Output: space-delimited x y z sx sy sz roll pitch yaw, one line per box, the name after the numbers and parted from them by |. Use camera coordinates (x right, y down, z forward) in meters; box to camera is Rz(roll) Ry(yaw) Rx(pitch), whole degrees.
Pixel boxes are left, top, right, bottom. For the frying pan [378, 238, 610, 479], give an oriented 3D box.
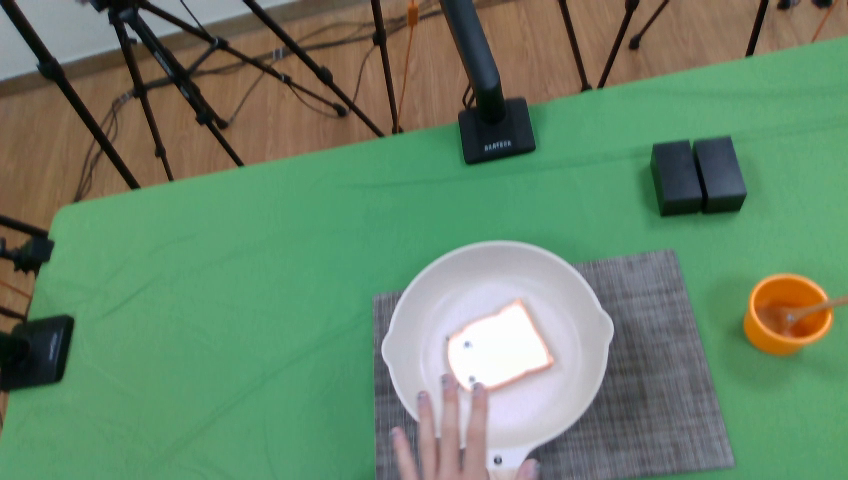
0.092 0.223 0.761 0.306 0.104 0.483 -8 53 12 | frying pan

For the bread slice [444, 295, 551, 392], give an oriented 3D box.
0.096 0.152 0.842 0.134 0.018 0.106 -27 60 -2 | bread slice

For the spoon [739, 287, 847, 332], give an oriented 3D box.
0.471 0.073 0.720 0.022 0.193 0.041 17 61 -27 | spoon
